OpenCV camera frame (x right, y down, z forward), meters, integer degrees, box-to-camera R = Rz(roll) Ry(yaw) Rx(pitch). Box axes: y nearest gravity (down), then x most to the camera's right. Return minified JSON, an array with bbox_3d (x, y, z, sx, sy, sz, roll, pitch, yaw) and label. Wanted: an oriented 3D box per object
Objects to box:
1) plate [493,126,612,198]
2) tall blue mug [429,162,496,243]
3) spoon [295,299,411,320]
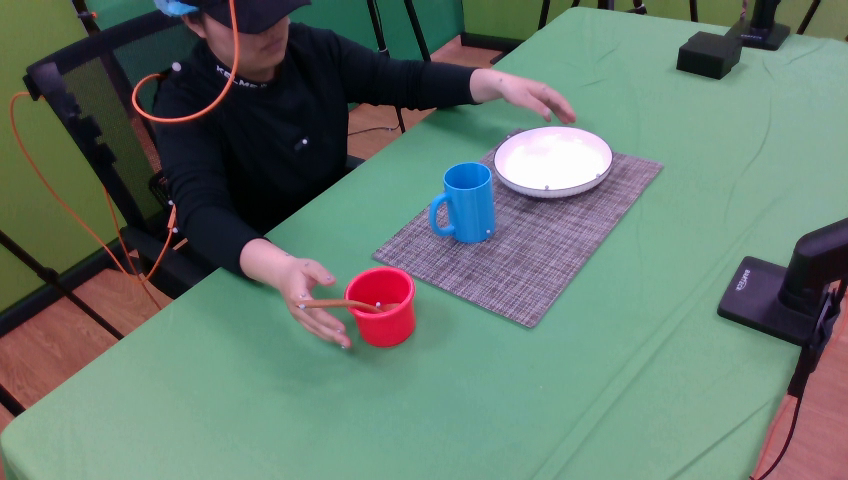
[{"bbox_3d":[0.229,-0.136,1.085,0.207,0.039,0.206,-5,40,5],"label":"plate"},{"bbox_3d":[0.066,-0.051,0.960,0.077,0.108,0.107,18,47,28],"label":"tall blue mug"},{"bbox_3d":[-0.090,0.089,0.805,0.195,0.021,0.041,15,12,-47],"label":"spoon"}]
